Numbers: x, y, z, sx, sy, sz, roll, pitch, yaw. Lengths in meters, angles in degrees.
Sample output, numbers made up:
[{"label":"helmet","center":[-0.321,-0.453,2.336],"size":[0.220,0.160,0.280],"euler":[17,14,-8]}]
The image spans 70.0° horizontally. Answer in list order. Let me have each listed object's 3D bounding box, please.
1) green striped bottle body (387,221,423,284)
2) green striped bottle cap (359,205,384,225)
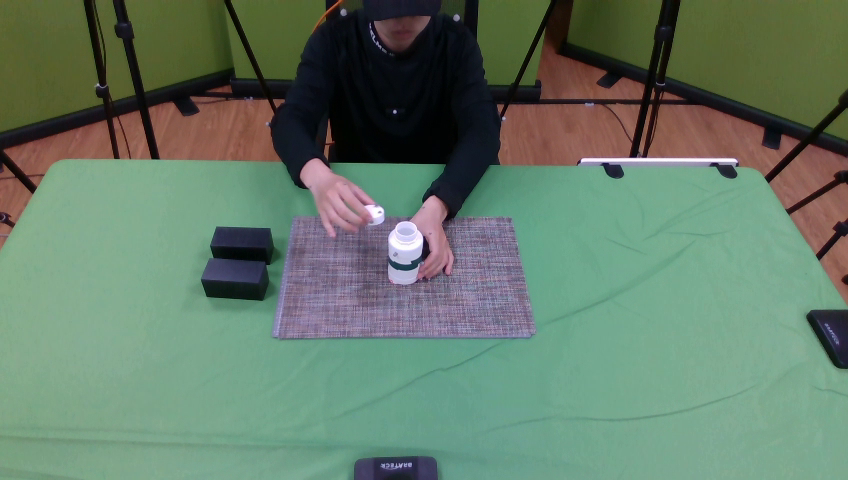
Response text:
[{"label":"green striped bottle body","center":[-0.035,0.021,1.102],"size":[0.063,0.120,0.063],"euler":[2,46,-2]},{"label":"green striped bottle cap","center":[-0.093,-0.044,1.075],"size":[0.044,0.020,0.044],"euler":[0,35,0]}]
